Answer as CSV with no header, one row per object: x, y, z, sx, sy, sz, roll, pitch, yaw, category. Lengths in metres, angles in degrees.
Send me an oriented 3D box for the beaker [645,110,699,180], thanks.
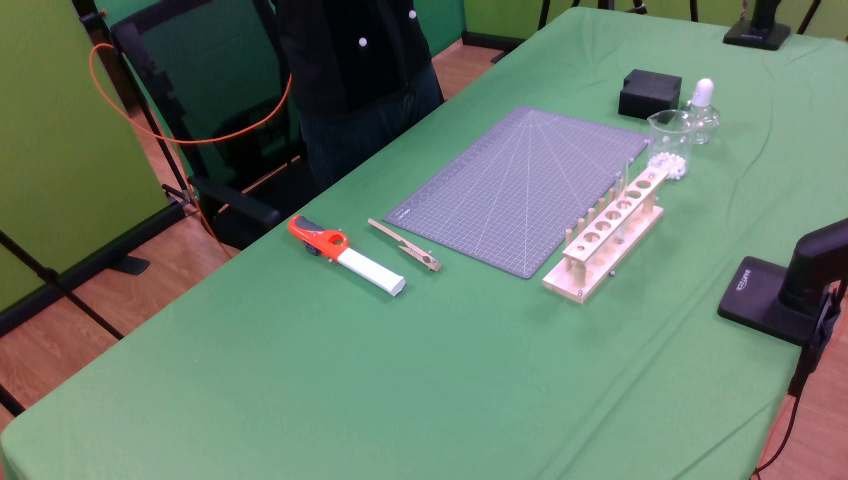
0.417,-0.160,1.032,0.083,0.101,0.074,25,51,35,beaker

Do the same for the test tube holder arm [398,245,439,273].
-0.009,0.026,0.956,0.087,0.015,0.010,34,89,40,test tube holder arm

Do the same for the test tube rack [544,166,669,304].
0.274,-0.018,0.903,0.066,0.085,0.243,26,51,35,test tube rack

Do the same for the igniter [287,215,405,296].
-0.137,0.019,0.980,0.274,0.025,0.057,28,62,35,igniter

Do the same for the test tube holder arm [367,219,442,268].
-0.035,0.003,0.985,0.177,0.015,0.013,32,87,40,test tube holder arm

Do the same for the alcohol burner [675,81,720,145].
0.497,-0.234,1.094,0.078,0.119,0.077,-5,43,5,alcohol burner

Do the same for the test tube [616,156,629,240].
0.284,-0.057,0.869,0.017,0.151,0.017,-8,42,8,test tube

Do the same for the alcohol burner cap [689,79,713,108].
0.492,-0.262,1.071,0.034,0.048,0.033,-2,45,2,alcohol burner cap
